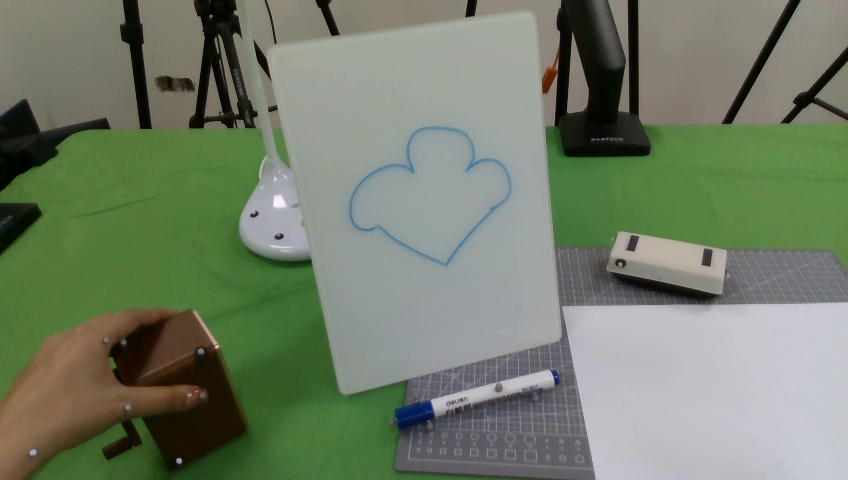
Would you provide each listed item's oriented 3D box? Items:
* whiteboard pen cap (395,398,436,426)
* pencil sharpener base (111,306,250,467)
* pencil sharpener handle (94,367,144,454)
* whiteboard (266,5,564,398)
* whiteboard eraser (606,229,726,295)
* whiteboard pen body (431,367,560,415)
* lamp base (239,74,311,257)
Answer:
[{"bbox_3d":[-0.007,0.145,0.510,0.033,0.018,0.018,-13,38,-10],"label":"whiteboard pen cap"},{"bbox_3d":[-0.198,0.120,0.493,0.077,0.108,0.060,-26,43,-26],"label":"pencil sharpener base"},{"bbox_3d":[-0.238,0.132,0.460,0.031,0.068,0.035,-27,31,-26],"label":"pencil sharpener handle"},{"bbox_3d":[-0.006,-0.042,0.577,0.217,0.307,0.143,-12,18,-9],"label":"whiteboard"},{"bbox_3d":[0.253,0.023,0.634,0.112,0.042,0.055,13,41,21],"label":"whiteboard eraser"},{"bbox_3d":[0.050,0.132,0.520,0.141,0.017,0.017,-12,37,-9],"label":"whiteboard pen body"},{"bbox_3d":[-0.162,-0.097,0.719,0.160,0.182,0.177,-31,42,-31],"label":"lamp base"}]
